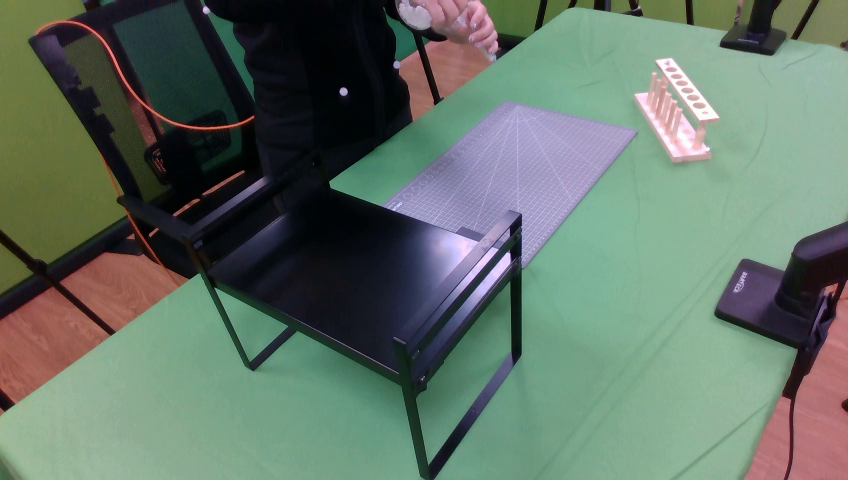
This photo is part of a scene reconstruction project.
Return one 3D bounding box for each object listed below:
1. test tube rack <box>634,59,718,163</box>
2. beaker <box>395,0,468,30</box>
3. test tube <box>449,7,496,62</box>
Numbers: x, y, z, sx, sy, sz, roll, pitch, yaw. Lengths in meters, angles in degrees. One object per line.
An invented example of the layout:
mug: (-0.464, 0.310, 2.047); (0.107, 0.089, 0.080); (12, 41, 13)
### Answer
test tube rack: (0.470, -0.250, 1.148); (0.067, 0.085, 0.241); (-6, 40, 3)
beaker: (0.013, -0.353, 0.876); (0.073, 0.084, 0.100); (23, 51, 29)
test tube: (0.082, -0.333, 0.988); (0.017, 0.151, 0.017); (-10, 71, 29)
